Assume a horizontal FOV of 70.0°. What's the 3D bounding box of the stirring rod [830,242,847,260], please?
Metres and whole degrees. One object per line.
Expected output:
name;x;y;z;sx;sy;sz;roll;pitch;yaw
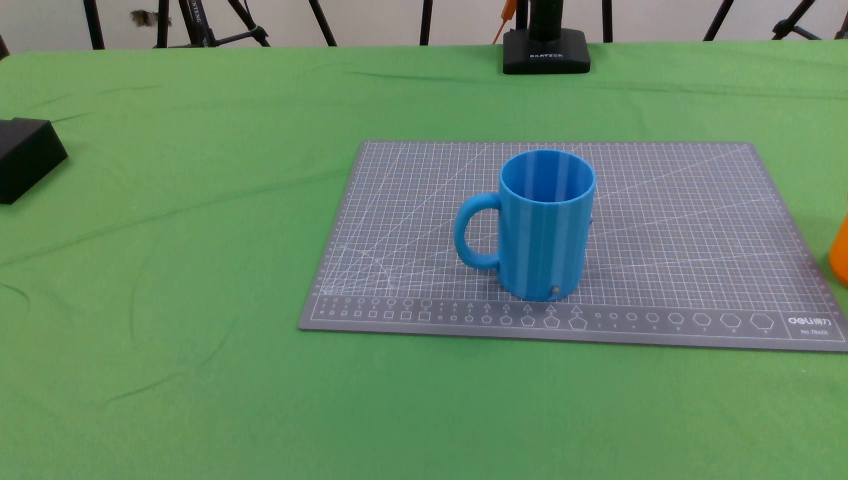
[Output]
stirring rod;0.418;-0.022;0.480;0.176;0.006;0.014;-31;29;38

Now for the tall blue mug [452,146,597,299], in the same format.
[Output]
tall blue mug;0.086;-0.008;0.507;0.107;0.109;0.077;-25;47;-22
